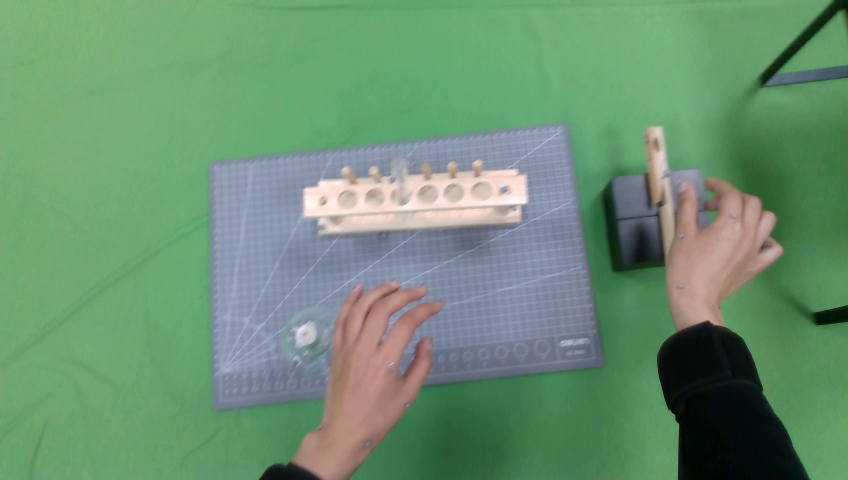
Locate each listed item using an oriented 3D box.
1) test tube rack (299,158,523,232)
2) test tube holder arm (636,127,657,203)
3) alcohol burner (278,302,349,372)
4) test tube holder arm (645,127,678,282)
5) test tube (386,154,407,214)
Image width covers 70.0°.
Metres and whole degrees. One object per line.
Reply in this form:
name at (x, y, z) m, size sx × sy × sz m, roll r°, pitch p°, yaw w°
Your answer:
test tube rack at (-0.014, -0.057, 0.698) m, size 0.242 × 0.085 × 0.066 m, roll -3°, pitch 78°, yaw 1°
test tube holder arm at (0.252, -0.085, 0.684) m, size 0.010 × 0.015 × 0.087 m, roll -4°, pitch 78°, yaw -7°
alcohol burner at (-0.122, 0.103, 0.653) m, size 0.078 × 0.119 × 0.077 m, roll 0°, pitch 76°, yaw 0°
test tube holder arm at (0.262, -0.041, 0.675) m, size 0.013 × 0.015 × 0.177 m, roll -5°, pitch 78°, yaw -7°
test tube at (-0.028, -0.056, 0.647) m, size 0.017 × 0.151 × 0.017 m, roll 0°, pitch 75°, yaw 1°
